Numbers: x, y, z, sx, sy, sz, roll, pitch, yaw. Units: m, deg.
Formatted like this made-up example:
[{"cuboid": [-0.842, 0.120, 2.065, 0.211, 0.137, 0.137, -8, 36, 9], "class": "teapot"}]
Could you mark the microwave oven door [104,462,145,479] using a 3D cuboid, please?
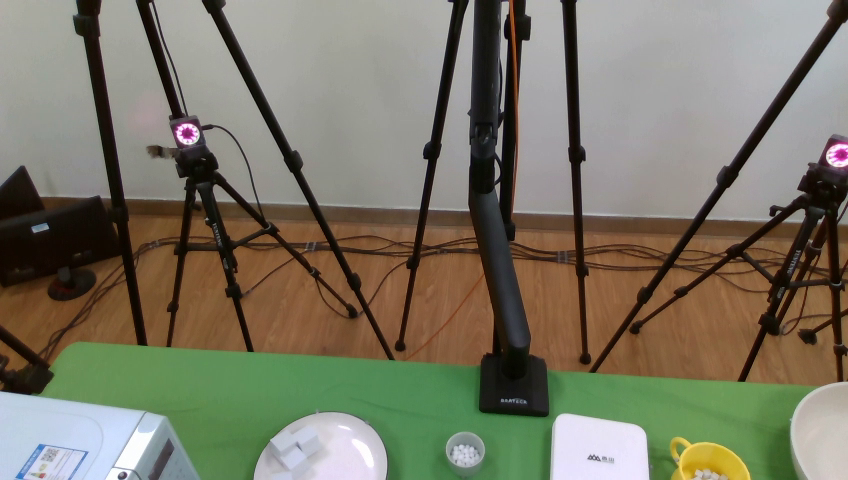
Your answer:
[{"cuboid": [-0.376, 0.460, 0.654, 0.039, 0.246, 0.353, 5, 42, 8], "class": "microwave oven door"}]

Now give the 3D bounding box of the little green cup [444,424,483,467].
[{"cuboid": [0.064, 0.331, 0.967, 0.061, 0.039, 0.061, -1, 41, 2], "class": "little green cup"}]

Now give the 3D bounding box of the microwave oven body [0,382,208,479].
[{"cuboid": [-0.512, 0.425, 0.708, 0.325, 0.262, 0.438, 5, 43, 8], "class": "microwave oven body"}]

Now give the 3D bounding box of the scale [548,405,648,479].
[{"cuboid": [0.268, 0.354, 0.936, 0.148, 0.032, 0.199, 6, 42, 10], "class": "scale"}]

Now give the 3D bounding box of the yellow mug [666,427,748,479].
[{"cuboid": [0.416, 0.341, 0.918, 0.100, 0.064, 0.129, -19, 43, -18], "class": "yellow mug"}]

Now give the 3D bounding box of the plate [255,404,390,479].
[{"cuboid": [-0.156, 0.355, 0.949, 0.208, 0.039, 0.205, -1, 41, 1], "class": "plate"}]

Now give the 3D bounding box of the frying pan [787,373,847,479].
[{"cuboid": [0.729, 0.386, 0.823, 0.307, 0.103, 0.482, -15, 35, -13], "class": "frying pan"}]
